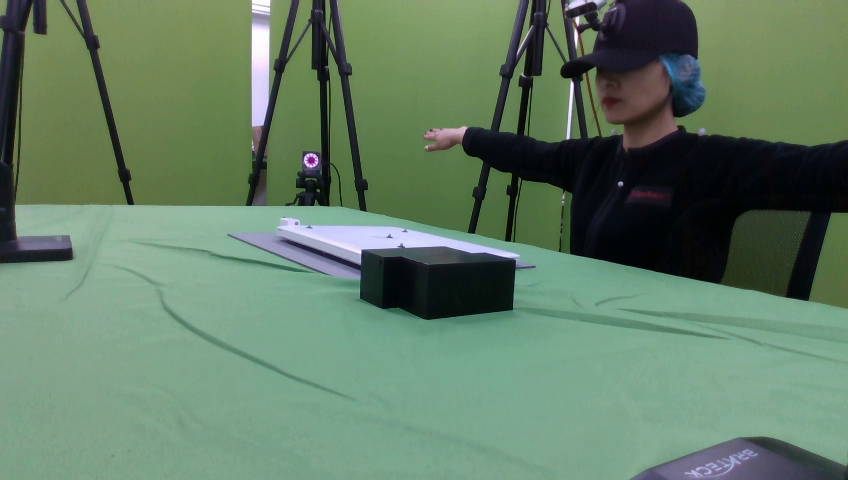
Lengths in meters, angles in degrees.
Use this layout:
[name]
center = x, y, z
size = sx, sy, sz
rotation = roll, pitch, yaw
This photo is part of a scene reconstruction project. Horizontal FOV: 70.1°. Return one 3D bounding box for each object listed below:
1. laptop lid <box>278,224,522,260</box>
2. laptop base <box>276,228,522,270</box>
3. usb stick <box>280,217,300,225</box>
[laptop lid]
center = -0.052, -0.001, 0.909
size = 0.243, 0.013, 0.355
rotation = 0, 7, -32
[laptop base]
center = -0.054, 0.011, 0.910
size = 0.237, 0.023, 0.352
rotation = 1, 7, -33
[usb stick]
center = -0.225, -0.023, 1.024
size = 0.021, 0.027, 0.059
rotation = 0, 9, -31
